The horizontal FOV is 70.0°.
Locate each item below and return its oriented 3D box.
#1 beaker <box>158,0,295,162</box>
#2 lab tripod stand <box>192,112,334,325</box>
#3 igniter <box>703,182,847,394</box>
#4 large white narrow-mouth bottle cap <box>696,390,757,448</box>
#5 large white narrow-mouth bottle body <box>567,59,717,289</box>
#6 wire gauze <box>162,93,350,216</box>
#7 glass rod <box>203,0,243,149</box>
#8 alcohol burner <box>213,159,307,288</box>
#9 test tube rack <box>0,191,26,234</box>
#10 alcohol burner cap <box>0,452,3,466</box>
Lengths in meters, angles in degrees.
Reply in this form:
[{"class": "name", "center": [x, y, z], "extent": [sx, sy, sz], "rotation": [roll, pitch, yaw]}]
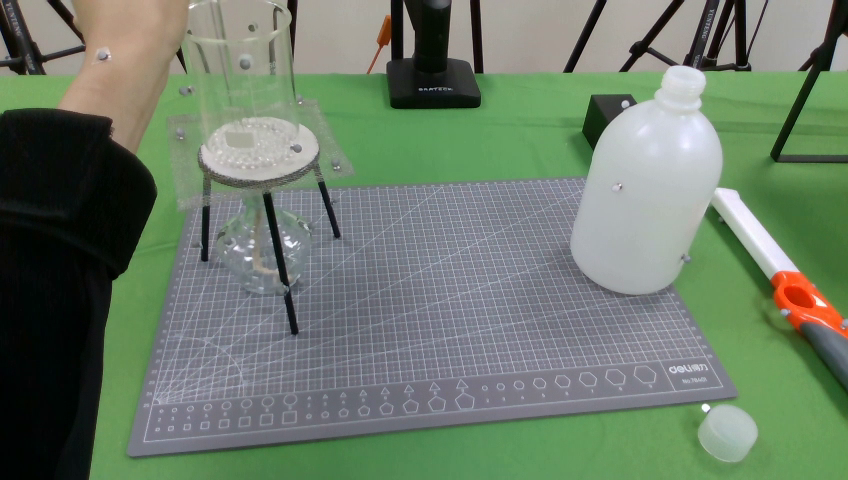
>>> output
[{"class": "beaker", "center": [-0.132, -0.112, 0.425], "extent": [0.084, 0.101, 0.073], "rotation": [-8, 45, -13]}, {"class": "lab tripod stand", "center": [-0.129, -0.024, 0.499], "extent": [0.148, 0.132, 0.147], "rotation": [4, 42, -3]}, {"class": "igniter", "center": [0.329, 0.036, 0.552], "extent": [0.057, 0.025, 0.273], "rotation": [6, 41, -14]}, {"class": "large white narrow-mouth bottle cap", "center": [0.221, 0.131, 0.443], "extent": [0.038, 0.024, 0.037], "rotation": [2, 42, -1]}, {"class": "large white narrow-mouth bottle body", "center": [0.187, -0.056, 0.514], "extent": [0.102, 0.196, 0.101], "rotation": [2, 42, -1]}, {"class": "wire gauze", "center": [-0.130, -0.074, 0.457], "extent": [0.122, 0.011, 0.123], "rotation": [-14, 49, -17]}, {"class": "glass rod", "center": [-0.139, -0.154, 0.388], "extent": [0.008, 0.201, 0.008], "rotation": [-2, 27, 2]}, {"class": "alcohol burner", "center": [-0.138, -0.018, 0.507], "extent": [0.078, 0.120, 0.077], "rotation": [4, 40, -3]}, {"class": "test tube rack", "center": [-0.480, -0.006, 0.492], "extent": [0.066, 0.086, 0.242], "rotation": [32, 49, 28]}, {"class": "alcohol burner cap", "center": [-0.295, 0.133, 0.384], "extent": [0.034, 0.048, 0.033], "rotation": [4, 41, -3]}]
